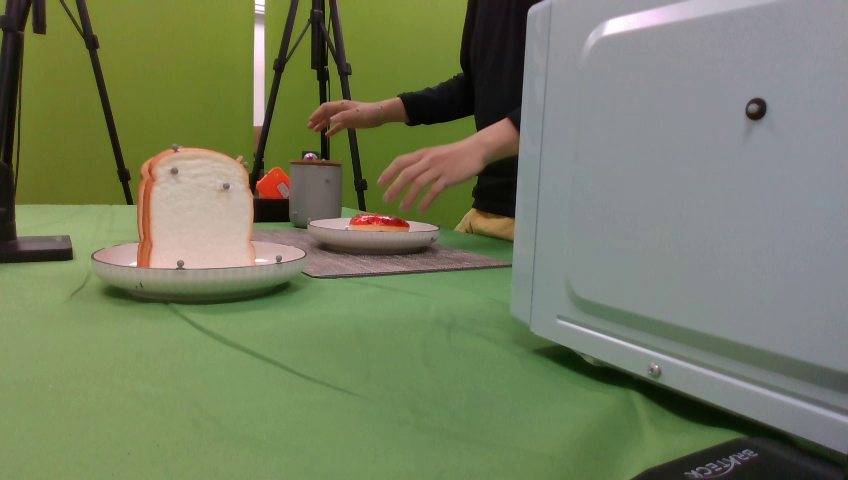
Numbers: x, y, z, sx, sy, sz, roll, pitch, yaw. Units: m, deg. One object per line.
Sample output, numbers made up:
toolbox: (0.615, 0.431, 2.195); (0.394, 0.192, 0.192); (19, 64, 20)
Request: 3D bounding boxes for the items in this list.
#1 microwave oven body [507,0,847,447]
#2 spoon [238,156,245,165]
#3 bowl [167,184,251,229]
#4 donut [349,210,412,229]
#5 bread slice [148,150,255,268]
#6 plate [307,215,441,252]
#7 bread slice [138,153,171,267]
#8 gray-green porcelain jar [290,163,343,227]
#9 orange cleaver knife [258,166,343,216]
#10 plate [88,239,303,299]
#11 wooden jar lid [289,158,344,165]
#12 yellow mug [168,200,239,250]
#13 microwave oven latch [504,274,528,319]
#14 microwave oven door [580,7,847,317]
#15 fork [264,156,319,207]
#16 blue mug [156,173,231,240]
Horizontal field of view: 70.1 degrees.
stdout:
microwave oven body: (0.331, -0.042, 0.425); (0.444, 0.260, 0.324); (-2, 8, -31)
spoon: (-0.477, -0.145, 1.492); (0.041, 0.022, 0.193); (0, 51, 13)
bowl: (-0.408, -0.064, 1.154); (0.151, 0.077, 0.151); (2, 8, 0)
donut: (-0.069, -0.023, 0.961); (0.099, 0.048, 0.099); (3, 4, 0)
bread slice: (-0.230, -0.024, 0.619); (0.107, 0.134, 0.018); (-8, 10, -34)
plate: (-0.078, -0.011, 0.954); (0.209, 0.038, 0.209); (2, 8, 0)
bread slice: (-0.256, -0.029, 0.660); (0.105, 0.131, 0.019); (-1, 0, -36)
gray-green porcelain jar: (-0.217, -0.091, 1.221); (0.106, 0.126, 0.106); (2, 7, 0)
orange cleaver knife: (-0.276, -0.090, 1.369); (0.212, 0.077, 0.012); (33, -11, -34)
plate: (-0.233, 0.029, 0.636); (0.208, 0.039, 0.207); (2, 7, 0)
wooden jar lid: (-0.215, -0.153, 1.212); (0.108, 0.020, 0.108); (2, 5, 0)
yellow mug: (-0.319, -0.023, 0.904); (0.130, 0.064, 0.100); (9, 11, 36)
microwave oven latch: (0.100, 0.041, 0.471); (0.079, 0.029, 0.030); (-1, 7, -27)
microwave oven door: (0.294, -0.067, 0.570); (0.358, 0.243, 0.039); (-3, 9, -31)
fork: (-0.331, -0.143, 1.505); (0.207, 0.018, 0.028); (-42, -19, 22)
blue mug: (-0.381, -0.057, 1.004); (0.117, 0.106, 0.082); (0, 8, -12)
